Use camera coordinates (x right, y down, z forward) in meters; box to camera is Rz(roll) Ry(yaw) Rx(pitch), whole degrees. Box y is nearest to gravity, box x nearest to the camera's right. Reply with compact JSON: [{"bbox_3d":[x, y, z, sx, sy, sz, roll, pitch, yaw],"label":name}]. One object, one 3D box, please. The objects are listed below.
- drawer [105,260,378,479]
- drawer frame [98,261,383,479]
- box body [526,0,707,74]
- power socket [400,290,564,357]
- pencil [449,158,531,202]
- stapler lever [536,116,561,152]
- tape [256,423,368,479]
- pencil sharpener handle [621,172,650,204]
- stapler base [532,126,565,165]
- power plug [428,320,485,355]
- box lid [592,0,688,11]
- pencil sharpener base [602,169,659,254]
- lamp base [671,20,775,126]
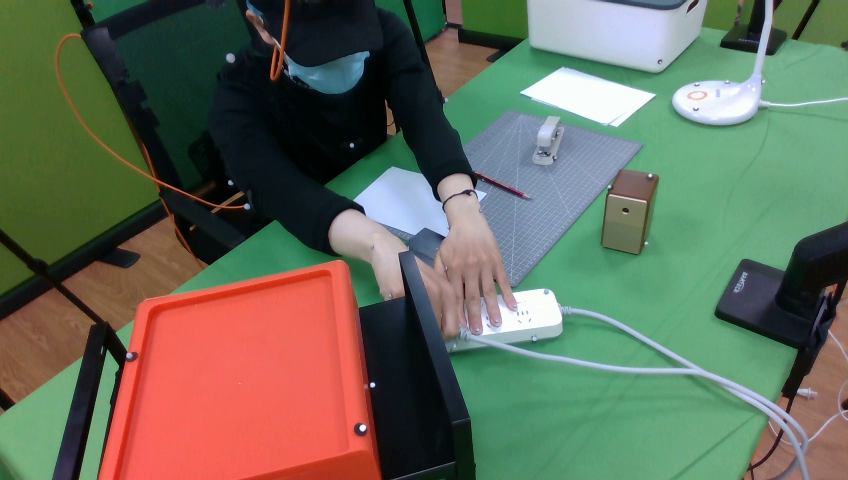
[{"bbox_3d":[-0.150,0.127,0.524,0.195,0.073,0.210,-11,41,-5],"label":"drawer"},{"bbox_3d":[-0.148,0.129,0.520,0.202,0.083,0.212,-12,41,-6],"label":"drawer frame"},{"bbox_3d":[0.450,-0.540,1.430,0.361,0.161,0.255,24,50,31],"label":"box body"},{"bbox_3d":[0.079,0.113,0.821,0.227,0.033,0.072,-7,41,-1],"label":"power socket"},{"bbox_3d":[0.116,-0.108,1.091,0.012,0.012,0.192,-35,50,-29],"label":"pencil"},{"bbox_3d":[0.235,-0.208,1.141,0.026,0.040,0.118,10,43,18],"label":"stapler lever"},{"bbox_3d":[-0.121,0.262,0.660,0.117,0.053,0.116,-4,40,4],"label":"tape"},{"bbox_3d":[0.328,-0.086,0.941,0.036,0.068,0.030,30,49,7],"label":"pencil sharpener handle"},{"bbox_3d":[0.238,-0.189,1.155,0.041,0.024,0.130,10,42,18],"label":"stapler base"},{"bbox_3d":[0.035,0.126,0.723,0.035,0.053,0.072,-23,45,-30],"label":"power plug"},{"bbox_3d":[0.441,-0.596,1.383,0.368,0.015,0.264,24,49,31],"label":"box lid"},{"bbox_3d":[0.312,-0.044,0.913,0.061,0.107,0.077,14,45,24],"label":"pencil sharpener base"},{"bbox_3d":[0.582,-0.332,1.153,0.179,0.181,0.160,2,41,7],"label":"lamp base"}]
